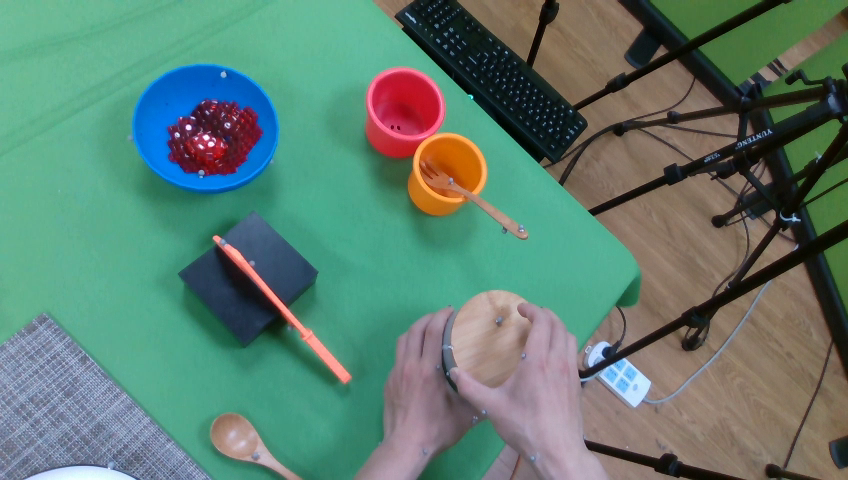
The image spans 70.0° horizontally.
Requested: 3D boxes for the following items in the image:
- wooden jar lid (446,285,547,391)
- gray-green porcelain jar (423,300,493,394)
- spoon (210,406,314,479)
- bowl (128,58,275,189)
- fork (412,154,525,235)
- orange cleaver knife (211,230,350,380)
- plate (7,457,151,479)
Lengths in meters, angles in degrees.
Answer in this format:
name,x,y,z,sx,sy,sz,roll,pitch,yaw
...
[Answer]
name,x,y,z,sx,sy,sz,roll,pitch,yaw
wooden jar lid,0.073,0.100,0.620,0.109,0.021,0.108,4,75,-15
gray-green porcelain jar,0.059,0.117,0.678,0.106,0.126,0.105,4,73,-14
spoon,-0.146,0.243,0.644,0.194,0.022,0.041,37,49,-2
bowl,-0.246,-0.119,0.689,0.152,0.077,0.150,4,74,-14
fork,0.049,-0.056,0.711,0.028,0.019,0.205,-28,40,-21
orange cleaver knife,-0.155,0.072,0.658,0.012,0.076,0.213,-43,112,-18
plate,-0.332,0.311,0.564,0.210,0.038,0.208,4,74,-14
